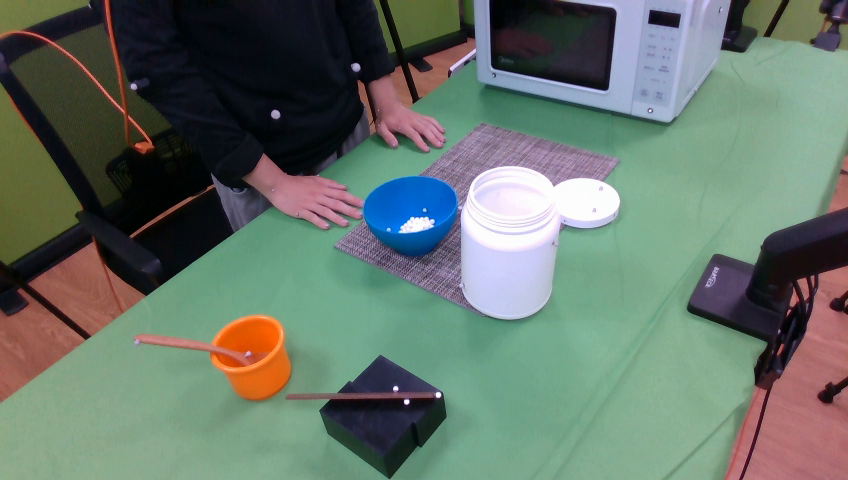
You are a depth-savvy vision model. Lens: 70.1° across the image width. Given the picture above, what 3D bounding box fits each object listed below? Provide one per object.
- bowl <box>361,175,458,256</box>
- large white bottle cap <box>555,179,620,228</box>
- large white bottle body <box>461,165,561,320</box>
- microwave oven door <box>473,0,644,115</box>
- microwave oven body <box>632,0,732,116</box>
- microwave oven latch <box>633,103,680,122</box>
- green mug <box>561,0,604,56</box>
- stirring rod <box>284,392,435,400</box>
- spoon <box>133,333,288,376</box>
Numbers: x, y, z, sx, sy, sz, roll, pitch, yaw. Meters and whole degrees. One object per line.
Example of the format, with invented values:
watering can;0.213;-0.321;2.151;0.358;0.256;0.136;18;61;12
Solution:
bowl;-0.018;-0.028;0.955;0.151;0.077;0.150;-4;40;4
large white bottle cap;0.265;-0.062;1.001;0.115;0.018;0.114;-4;41;4
large white bottle body;0.115;0.004;0.815;0.130;0.185;0.130;-2;43;2
microwave oven door;0.257;-0.396;1.199;0.353;0.245;0.039;21;48;29
microwave oven body;0.377;-0.462;1.267;0.438;0.261;0.327;21;48;30
microwave oven latch;0.444;-0.249;1.157;0.078;0.029;0.030;21;48;30
green mug;0.335;-0.450;1.293;0.092;0.105;0.125;8;48;23
stirring rod;-0.075;0.180;0.698;0.176;0.006;0.014;-2;6;6
spoon;-0.257;0.137;0.747;0.021;0.195;0.041;-47;40;23
